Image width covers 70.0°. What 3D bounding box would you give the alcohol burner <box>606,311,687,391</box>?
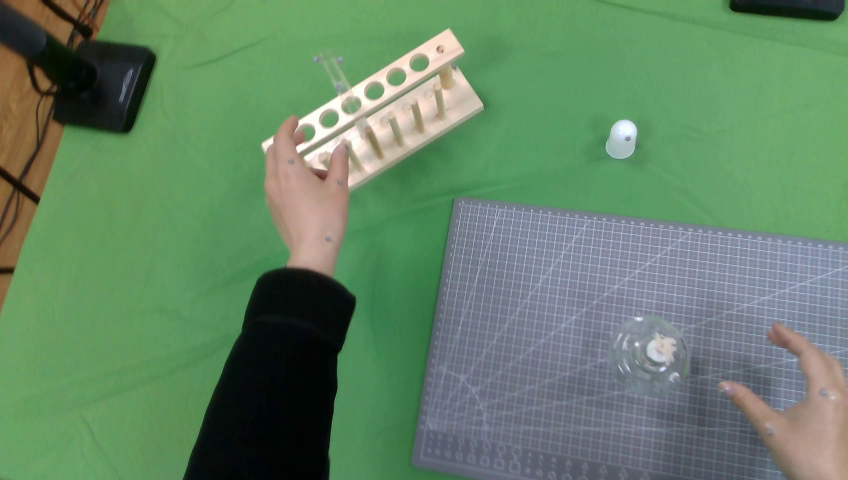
[{"bbox_3d":[0.215,0.104,0.581,0.078,0.120,0.077,-2,74,9],"label":"alcohol burner"}]

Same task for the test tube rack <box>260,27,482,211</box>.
[{"bbox_3d":[-0.055,-0.134,0.694,0.242,0.086,0.066,-32,73,0],"label":"test tube rack"}]

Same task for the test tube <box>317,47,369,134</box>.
[{"bbox_3d":[-0.083,-0.156,0.652,0.017,0.151,0.017,-3,71,10],"label":"test tube"}]

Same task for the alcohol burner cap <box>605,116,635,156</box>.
[{"bbox_3d":[0.219,-0.118,0.672,0.034,0.048,0.033,-3,71,10],"label":"alcohol burner cap"}]
